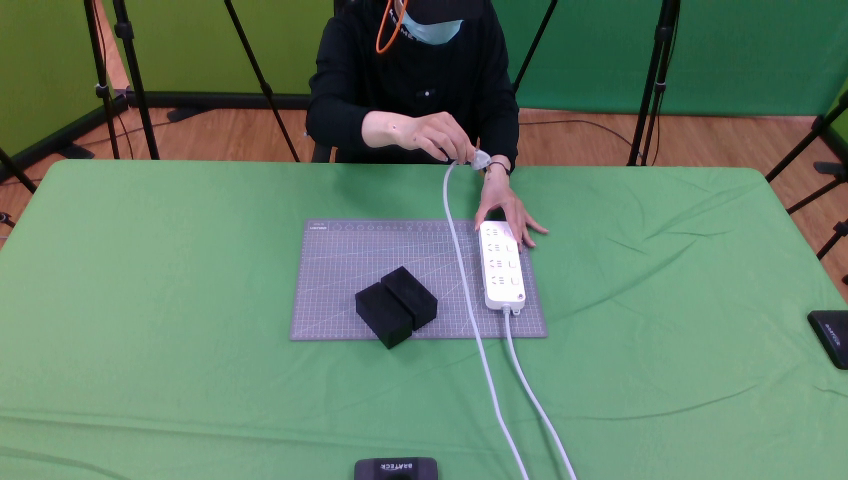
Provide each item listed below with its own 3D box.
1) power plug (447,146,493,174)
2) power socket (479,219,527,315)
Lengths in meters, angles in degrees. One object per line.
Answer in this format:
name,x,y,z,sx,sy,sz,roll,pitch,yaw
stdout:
power plug,0.083,-0.134,1.041,0.072,0.053,0.035,-12,31,25
power socket,0.148,0.041,1.150,0.072,0.033,0.225,1,47,-2
